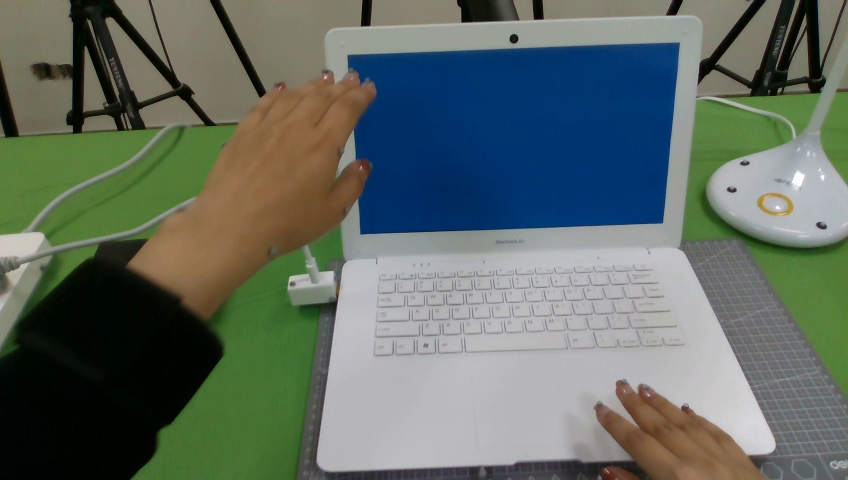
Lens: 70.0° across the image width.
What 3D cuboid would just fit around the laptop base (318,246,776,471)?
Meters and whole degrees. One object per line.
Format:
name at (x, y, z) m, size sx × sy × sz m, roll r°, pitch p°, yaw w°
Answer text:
laptop base at (0.092, 0.096, 0.548) m, size 0.354 × 0.023 × 0.233 m, roll -2°, pitch 43°, yaw 0°

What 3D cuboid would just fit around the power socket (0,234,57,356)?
power socket at (-0.436, 0.069, 0.595) m, size 0.072 × 0.033 × 0.224 m, roll -4°, pitch 39°, yaw -4°

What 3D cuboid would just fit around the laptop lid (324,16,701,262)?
laptop lid at (0.086, -0.091, 0.598) m, size 0.357 × 0.243 × 0.013 m, roll -4°, pitch 19°, yaw 0°

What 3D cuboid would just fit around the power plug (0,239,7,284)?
power plug at (-0.428, 0.018, 0.577) m, size 0.053 × 0.073 × 0.035 m, roll 11°, pitch 22°, yaw -20°

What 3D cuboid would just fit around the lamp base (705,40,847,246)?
lamp base at (0.412, -0.113, 0.656) m, size 0.159 × 0.182 × 0.179 m, roll 20°, pitch 43°, yaw 25°

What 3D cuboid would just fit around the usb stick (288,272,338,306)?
usb stick at (-0.102, 0.048, 0.597) m, size 0.059 × 0.027 × 0.021 m, roll -4°, pitch 38°, yaw -1°
